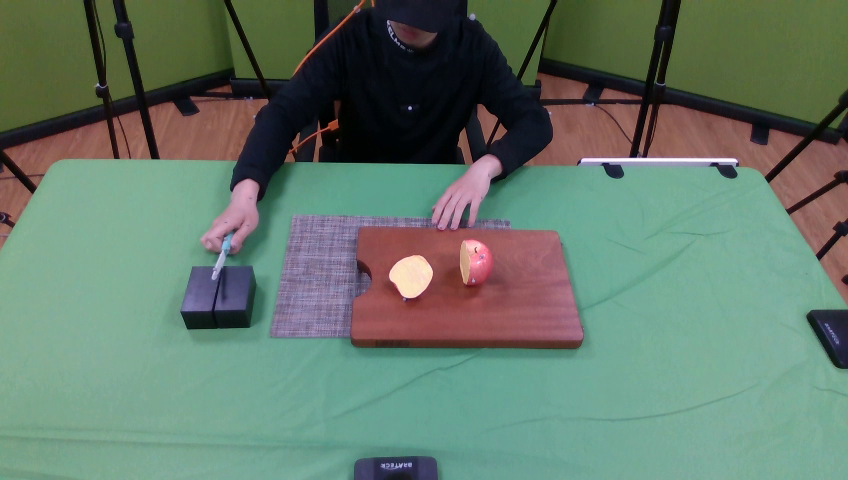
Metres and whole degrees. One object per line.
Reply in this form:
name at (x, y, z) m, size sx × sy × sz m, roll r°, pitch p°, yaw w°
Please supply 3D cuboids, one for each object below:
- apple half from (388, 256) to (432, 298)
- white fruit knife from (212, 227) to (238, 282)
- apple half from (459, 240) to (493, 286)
apple half at (-0.019, 0.069, 1.080) m, size 0.081 × 0.033 × 0.081 m, roll -6°, pitch 62°, yaw 12°
white fruit knife at (-0.360, 0.022, 1.094) m, size 0.016 × 0.027 × 0.206 m, roll -1°, pitch 25°, yaw -7°
apple half at (0.096, 0.042, 1.093) m, size 0.053 × 0.075 × 0.080 m, roll -1°, pitch 42°, yaw -11°
